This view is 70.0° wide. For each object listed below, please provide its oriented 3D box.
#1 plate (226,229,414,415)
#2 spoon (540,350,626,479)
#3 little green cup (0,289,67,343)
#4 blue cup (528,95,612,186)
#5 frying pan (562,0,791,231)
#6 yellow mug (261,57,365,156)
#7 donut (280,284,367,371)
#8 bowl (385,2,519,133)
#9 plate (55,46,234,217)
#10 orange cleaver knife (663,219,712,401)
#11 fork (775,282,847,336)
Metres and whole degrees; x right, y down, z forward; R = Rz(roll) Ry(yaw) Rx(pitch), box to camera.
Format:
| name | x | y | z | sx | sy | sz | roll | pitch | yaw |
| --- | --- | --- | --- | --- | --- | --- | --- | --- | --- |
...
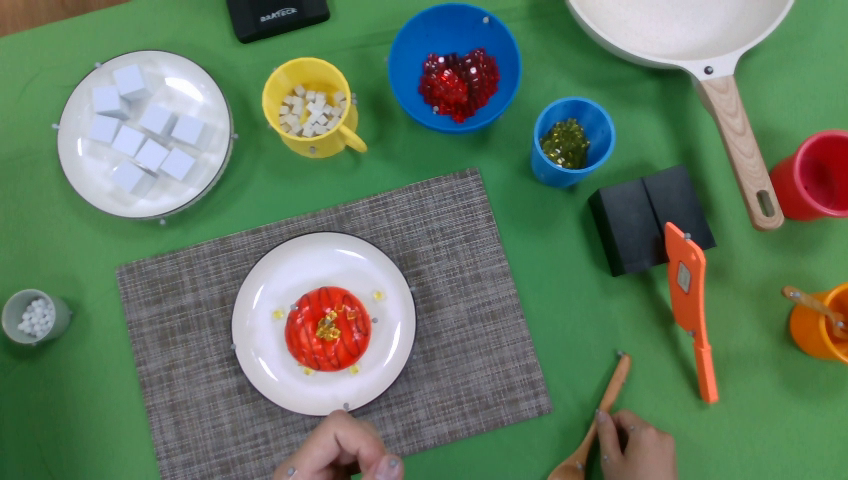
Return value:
| name | x | y | z | sx | sy | sz | roll | pitch | yaw |
| --- | --- | --- | --- | --- | --- | --- | --- | --- | --- |
| plate | -0.116 | 0.092 | 0.690 | 0.209 | 0.038 | 0.208 | 0 | 83 | 1 |
| spoon | 0.185 | 0.211 | 0.682 | 0.041 | 0.022 | 0.193 | 29 | 84 | 8 |
| little green cup | -0.447 | 0.087 | 0.697 | 0.061 | 0.039 | 0.061 | 0 | 83 | -1 |
| blue cup | 0.156 | -0.103 | 0.687 | 0.092 | 0.100 | 0.092 | 0 | 80 | 1 |
| frying pan | 0.312 | -0.240 | 0.704 | 0.307 | 0.103 | 0.484 | -11 | 74 | 0 |
| yellow mug | -0.122 | -0.147 | 0.714 | 0.130 | 0.064 | 0.100 | 37 | 84 | 5 |
| donut | -0.112 | 0.098 | 0.678 | 0.099 | 0.048 | 0.099 | 0 | 86 | 1 |
| bowl | 0.032 | -0.190 | 0.712 | 0.151 | 0.077 | 0.151 | 0 | 82 | 1 |
| plate | -0.329 | -0.128 | 0.727 | 0.208 | 0.039 | 0.207 | 0 | 82 | 1 |
| orange cleaver knife | 0.290 | 0.080 | 0.671 | 0.012 | 0.076 | 0.213 | -17 | 111 | -2 |
| fork | 0.414 | 0.073 | 0.636 | 0.209 | 0.018 | 0.028 | 21 | 80 | -40 |
